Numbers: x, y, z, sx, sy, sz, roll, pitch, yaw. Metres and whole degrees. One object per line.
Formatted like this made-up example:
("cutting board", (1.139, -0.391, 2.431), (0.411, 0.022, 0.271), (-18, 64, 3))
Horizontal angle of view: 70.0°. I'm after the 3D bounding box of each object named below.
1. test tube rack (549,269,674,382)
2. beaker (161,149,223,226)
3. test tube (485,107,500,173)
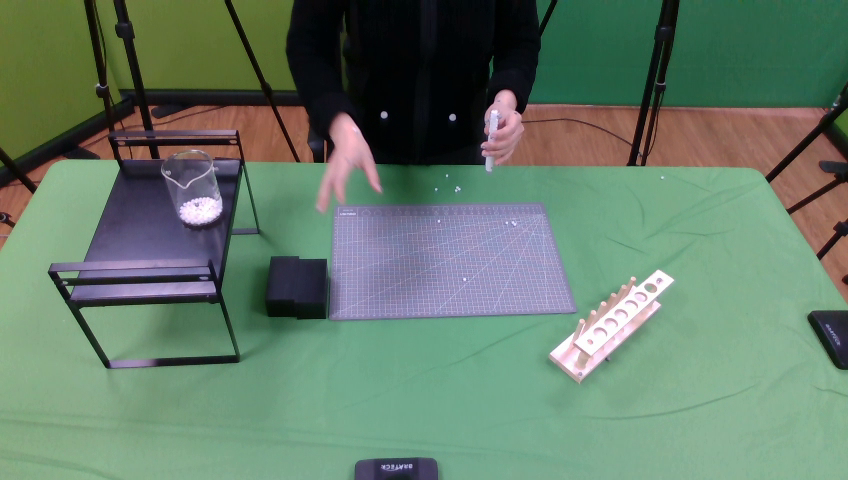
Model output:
("test tube rack", (0.325, 0.134, 1.047), (0.242, 0.085, 0.066), (-32, 56, -30))
("beaker", (-0.357, -0.077, 0.942), (0.074, 0.101, 0.083), (-4, 47, -8))
("test tube", (0.116, -0.167, 1.035), (0.017, 0.151, 0.017), (-1, 56, 1))
